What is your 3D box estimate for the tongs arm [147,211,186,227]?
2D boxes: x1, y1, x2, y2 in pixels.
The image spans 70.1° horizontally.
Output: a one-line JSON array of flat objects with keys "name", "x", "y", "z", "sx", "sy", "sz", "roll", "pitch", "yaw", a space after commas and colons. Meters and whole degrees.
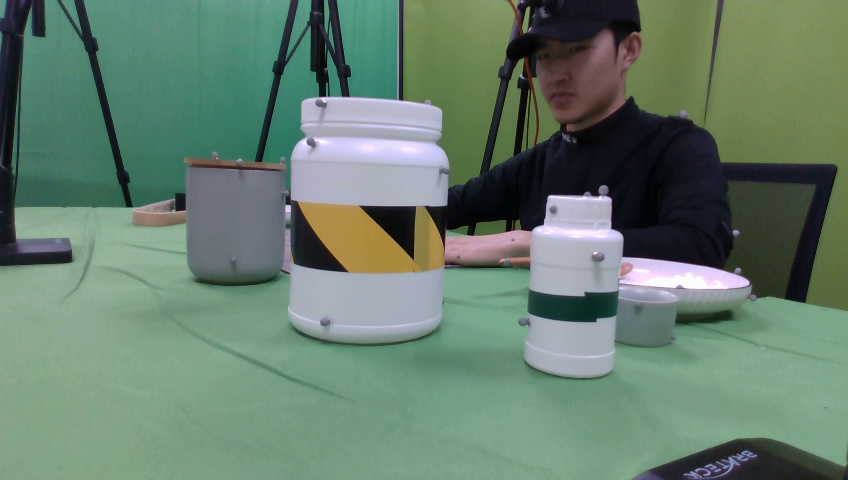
[{"name": "tongs arm", "x": -0.478, "y": -0.059, "z": 1.322, "sx": 0.028, "sy": 0.028, "sz": 0.388, "roll": 12, "pitch": 8, "yaw": 7}]

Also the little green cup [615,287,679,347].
[{"name": "little green cup", "x": 0.180, "y": 0.064, "z": 0.506, "sx": 0.061, "sy": 0.038, "sz": 0.061, "roll": 1, "pitch": 9, "yaw": 0}]

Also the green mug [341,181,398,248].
[{"name": "green mug", "x": -0.089, "y": -0.044, "z": 0.997, "sx": 0.093, "sy": 0.105, "sz": 0.125, "roll": 1, "pitch": 7, "yaw": -8}]

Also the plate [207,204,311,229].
[{"name": "plate", "x": -0.342, "y": -0.050, "z": 1.259, "sx": 0.208, "sy": 0.039, "sz": 0.207, "roll": 2, "pitch": 7, "yaw": 0}]

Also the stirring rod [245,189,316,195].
[{"name": "stirring rod", "x": -0.351, "y": -0.119, "z": 1.490, "sx": 0.177, "sy": 0.014, "sz": 0.006, "roll": -2, "pitch": 5, "yaw": -29}]

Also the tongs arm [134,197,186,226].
[{"name": "tongs arm", "x": -0.556, "y": -0.066, "z": 1.320, "sx": 0.051, "sy": 0.026, "sz": 0.384, "roll": 7, "pitch": 7, "yaw": -5}]

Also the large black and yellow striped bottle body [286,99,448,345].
[{"name": "large black and yellow striped bottle body", "x": -0.047, "y": -0.018, "z": 0.501, "sx": 0.131, "sy": 0.184, "sz": 0.130, "roll": 2, "pitch": 7, "yaw": 0}]

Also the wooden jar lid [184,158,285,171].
[{"name": "wooden jar lid", "x": -0.210, "y": -0.078, "z": 0.674, "sx": 0.108, "sy": 0.020, "sz": 0.108, "roll": 4, "pitch": 5, "yaw": 0}]

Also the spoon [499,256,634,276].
[{"name": "spoon", "x": 0.162, "y": 0.027, "z": 0.679, "sx": 0.195, "sy": 0.021, "sz": 0.041, "roll": 8, "pitch": 2, "yaw": -30}]

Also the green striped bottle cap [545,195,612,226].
[{"name": "green striped bottle cap", "x": 0.106, "y": -0.020, "z": 0.414, "sx": 0.044, "sy": 0.020, "sz": 0.044, "roll": 2, "pitch": 4, "yaw": 0}]

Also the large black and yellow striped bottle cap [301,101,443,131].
[{"name": "large black and yellow striped bottle cap", "x": -0.042, "y": -0.100, "z": 0.491, "sx": 0.115, "sy": 0.019, "sz": 0.115, "roll": 1, "pitch": 8, "yaw": 0}]

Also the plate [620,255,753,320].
[{"name": "plate", "x": 0.234, "y": 0.049, "z": 0.651, "sx": 0.209, "sy": 0.038, "sz": 0.209, "roll": 2, "pitch": 7, "yaw": 0}]

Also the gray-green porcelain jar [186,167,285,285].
[{"name": "gray-green porcelain jar", "x": -0.212, "y": -0.017, "z": 0.682, "sx": 0.106, "sy": 0.126, "sz": 0.106, "roll": 2, "pitch": 7, "yaw": 0}]

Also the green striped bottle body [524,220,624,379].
[{"name": "green striped bottle body", "x": 0.104, "y": 0.031, "z": 0.422, "sx": 0.063, "sy": 0.119, "sz": 0.063, "roll": 2, "pitch": 7, "yaw": 0}]
